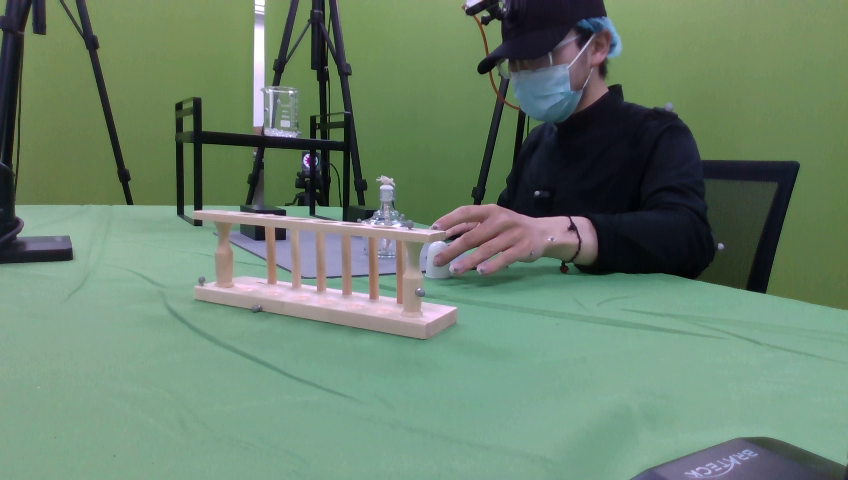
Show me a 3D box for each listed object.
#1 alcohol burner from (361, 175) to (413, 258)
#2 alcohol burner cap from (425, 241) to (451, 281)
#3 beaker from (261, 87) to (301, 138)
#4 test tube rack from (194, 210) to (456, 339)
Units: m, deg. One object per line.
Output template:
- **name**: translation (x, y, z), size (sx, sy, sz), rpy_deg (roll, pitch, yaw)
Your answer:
- **alcohol burner**: translation (-0.054, -0.033, 0.871), size (0.078, 0.119, 0.078), rpy_deg (1, 8, 0)
- **alcohol burner cap**: translation (0.018, 0.024, 0.748), size (0.034, 0.048, 0.034), rpy_deg (3, 8, 0)
- **beaker**: translation (-0.298, -0.263, 1.255), size (0.084, 0.100, 0.073), rpy_deg (-5, 10, -40)
- **test tube rack**: translation (-0.093, 0.023, 0.545), size (0.241, 0.085, 0.067), rpy_deg (6, 8, 25)
